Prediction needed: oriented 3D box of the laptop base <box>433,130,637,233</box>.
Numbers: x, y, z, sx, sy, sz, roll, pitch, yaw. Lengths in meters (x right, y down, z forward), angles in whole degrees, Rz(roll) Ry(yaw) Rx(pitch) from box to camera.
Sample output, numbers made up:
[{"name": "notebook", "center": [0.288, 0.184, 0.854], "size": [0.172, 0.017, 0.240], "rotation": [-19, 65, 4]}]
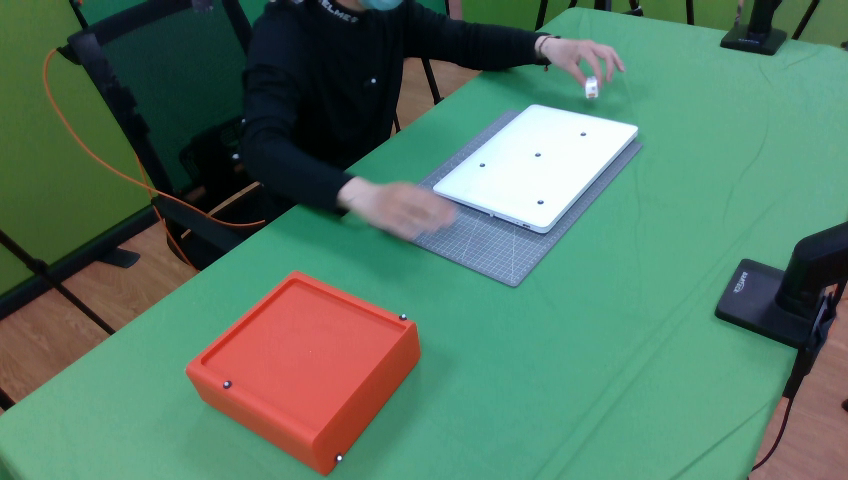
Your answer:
[{"name": "laptop base", "center": [0.210, -0.142, 1.111], "size": [0.233, 0.023, 0.355], "rotation": [21, 48, 33]}]

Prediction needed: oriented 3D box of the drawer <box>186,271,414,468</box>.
[{"name": "drawer", "center": [-0.150, 0.153, 0.768], "size": [0.210, 0.073, 0.195], "rotation": [20, 46, 28]}]

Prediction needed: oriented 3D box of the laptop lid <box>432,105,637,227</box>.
[{"name": "laptop lid", "center": [0.207, -0.152, 1.104], "size": [0.239, 0.013, 0.358], "rotation": [23, 49, 34]}]

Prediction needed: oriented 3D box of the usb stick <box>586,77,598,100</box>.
[{"name": "usb stick", "center": [0.334, -0.299, 1.200], "size": [0.021, 0.027, 0.059], "rotation": [0, 43, 20]}]

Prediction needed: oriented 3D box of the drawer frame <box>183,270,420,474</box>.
[{"name": "drawer frame", "center": [-0.148, 0.153, 0.767], "size": [0.212, 0.083, 0.202], "rotation": [20, 46, 27]}]
